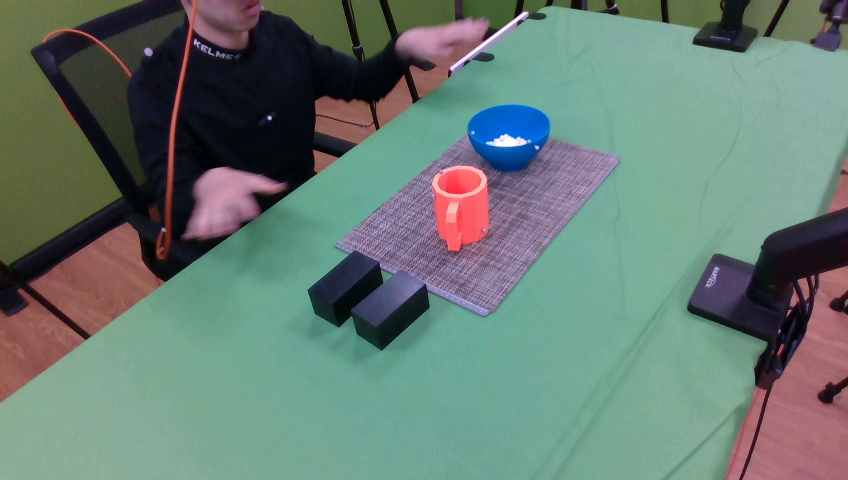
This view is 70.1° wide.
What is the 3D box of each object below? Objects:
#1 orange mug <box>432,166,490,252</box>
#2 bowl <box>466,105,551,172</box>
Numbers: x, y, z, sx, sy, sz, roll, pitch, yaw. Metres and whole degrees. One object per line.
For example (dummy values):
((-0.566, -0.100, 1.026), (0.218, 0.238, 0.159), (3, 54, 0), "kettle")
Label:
((0.055, -0.045, 0.948), (0.083, 0.101, 0.126), (4, 38, 14), "orange mug")
((0.155, -0.177, 1.105), (0.151, 0.077, 0.150), (-3, 40, 3), "bowl")
